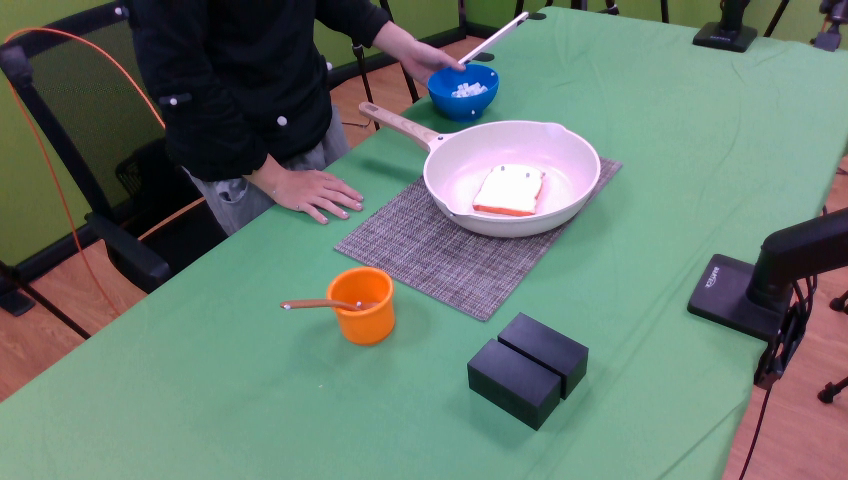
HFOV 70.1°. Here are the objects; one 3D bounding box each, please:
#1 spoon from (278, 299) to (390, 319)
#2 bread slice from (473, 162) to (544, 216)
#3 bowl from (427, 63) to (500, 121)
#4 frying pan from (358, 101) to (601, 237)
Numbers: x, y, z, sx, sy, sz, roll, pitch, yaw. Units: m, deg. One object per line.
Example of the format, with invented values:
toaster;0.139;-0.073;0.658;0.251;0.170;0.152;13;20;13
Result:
spoon;-0.113;0.086;0.787;0.041;0.021;0.195;29;7;36
bread slice;0.150;-0.089;1.041;0.106;0.018;0.134;7;44;16
bowl;0.084;-0.301;1.263;0.151;0.077;0.150;-4;41;4
frying pan;0.067;-0.153;1.067;0.484;0.103;0.308;32;52;26
